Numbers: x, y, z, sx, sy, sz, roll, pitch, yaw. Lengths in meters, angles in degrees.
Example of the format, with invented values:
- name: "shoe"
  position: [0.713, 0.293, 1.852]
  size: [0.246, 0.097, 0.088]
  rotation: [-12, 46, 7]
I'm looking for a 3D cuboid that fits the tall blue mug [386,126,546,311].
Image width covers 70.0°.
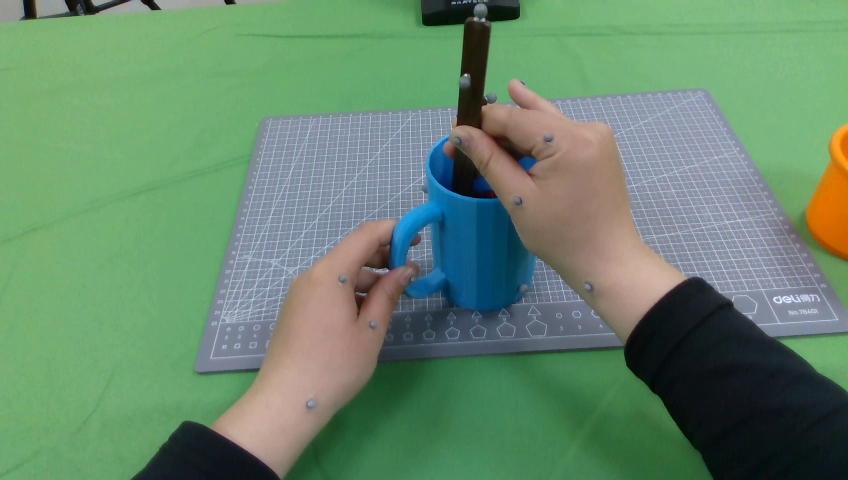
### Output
- name: "tall blue mug"
  position: [0.033, -0.003, 0.411]
  size: [0.077, 0.109, 0.107]
  rotation: [20, 51, 21]

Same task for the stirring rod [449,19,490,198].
- name: "stirring rod"
  position: [0.023, -0.050, 0.360]
  size: [0.014, 0.177, 0.006]
  rotation: [14, 52, 9]
